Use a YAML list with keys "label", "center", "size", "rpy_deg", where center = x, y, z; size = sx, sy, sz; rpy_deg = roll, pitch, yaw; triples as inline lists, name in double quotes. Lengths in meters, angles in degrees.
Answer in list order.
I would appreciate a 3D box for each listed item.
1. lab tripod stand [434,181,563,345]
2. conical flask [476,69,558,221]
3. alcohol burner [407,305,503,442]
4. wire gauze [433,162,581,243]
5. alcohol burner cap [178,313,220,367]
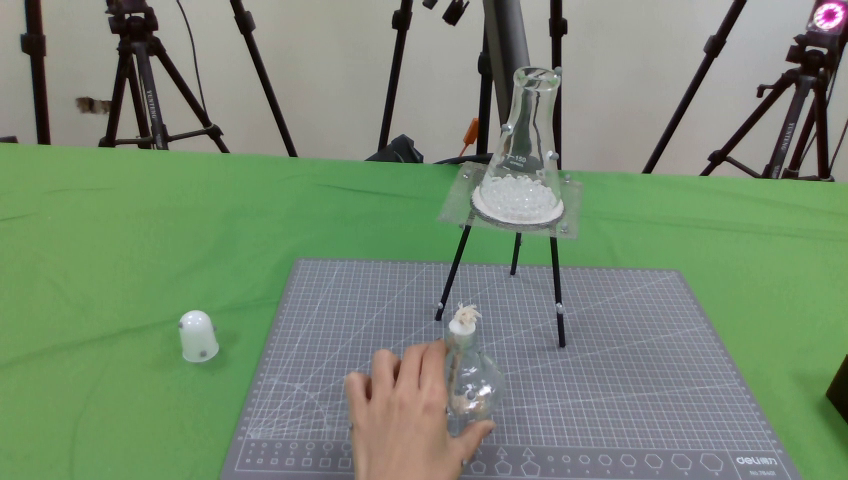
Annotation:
- label: "lab tripod stand"
  center: [0.086, 0.021, 0.598]
  size: [0.148, 0.132, 0.147]
  rpy_deg: [4, 32, -2]
- label: "conical flask"
  center: [0.088, -0.084, 0.527]
  size: [0.075, 0.123, 0.074]
  rpy_deg: [2, 33, -1]
- label: "alcohol burner"
  center: [0.026, 0.102, 0.483]
  size: [0.078, 0.120, 0.077]
  rpy_deg: [2, 31, -1]
- label: "wire gauze"
  center: [0.082, -0.036, 0.563]
  size: [0.121, 0.011, 0.124]
  rpy_deg: [10, 35, 11]
- label: "alcohol burner cap"
  center: [-0.210, 0.090, 0.560]
  size: [0.034, 0.048, 0.033]
  rpy_deg: [1, 32, 0]
